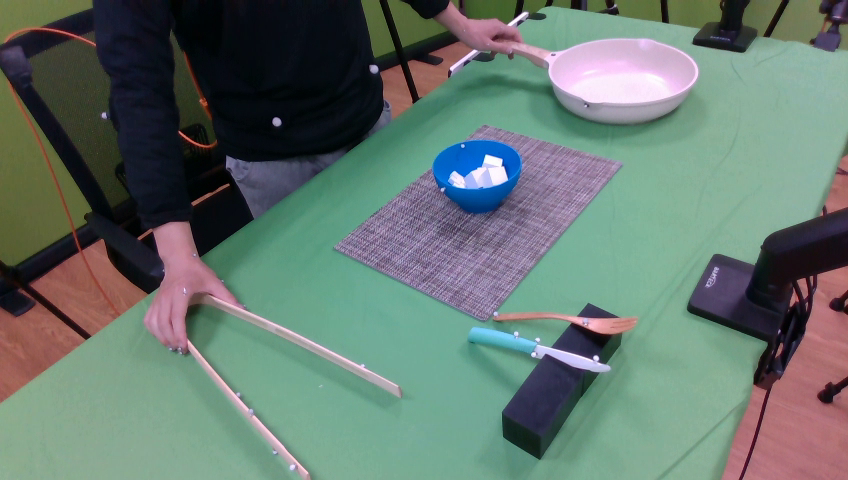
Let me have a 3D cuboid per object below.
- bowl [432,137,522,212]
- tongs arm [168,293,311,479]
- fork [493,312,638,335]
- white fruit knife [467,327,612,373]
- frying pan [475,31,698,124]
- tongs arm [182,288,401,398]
[{"bbox_3d":[0.091,-0.100,1.021,0.151,0.077,0.150,-4,41,4],"label":"bowl"},{"bbox_3d":[-0.245,0.176,0.787,0.381,0.026,0.051,29,52,36],"label":"tongs arm"},{"bbox_3d":[0.173,0.103,0.774,0.206,0.019,0.028,0,41,40],"label":"fork"},{"bbox_3d":[0.134,0.134,0.742,0.205,0.027,0.016,7,34,41],"label":"white fruit knife"},{"bbox_3d":[0.320,-0.371,1.290,0.485,0.103,0.307,28,50,23],"label":"frying pan"},{"bbox_3d":[-0.192,0.134,0.831,0.385,0.028,0.028,18,50,27],"label":"tongs arm"}]
